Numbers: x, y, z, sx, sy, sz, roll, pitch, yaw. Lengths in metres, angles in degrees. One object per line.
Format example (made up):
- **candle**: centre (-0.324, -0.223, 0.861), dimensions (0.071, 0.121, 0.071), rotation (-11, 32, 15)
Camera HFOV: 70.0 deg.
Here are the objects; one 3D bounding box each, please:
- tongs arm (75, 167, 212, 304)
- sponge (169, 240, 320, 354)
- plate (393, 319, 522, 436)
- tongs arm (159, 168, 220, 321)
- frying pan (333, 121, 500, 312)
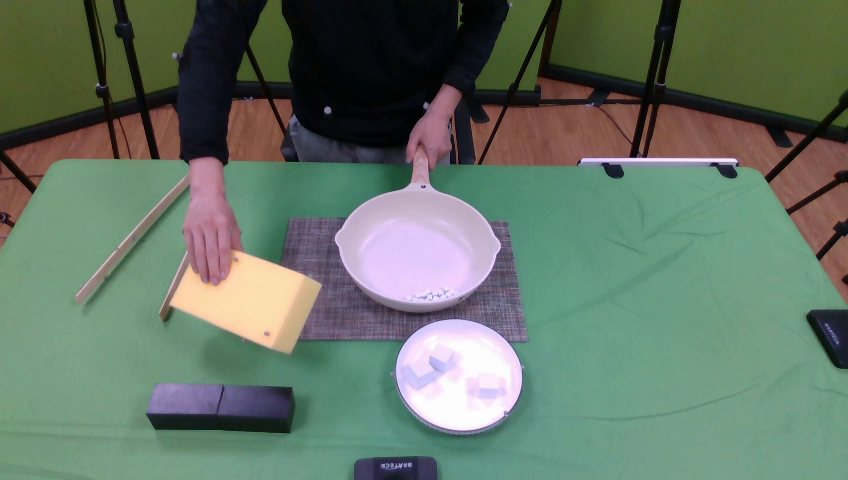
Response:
- **tongs arm**: centre (-0.525, -0.021, 1.167), dimensions (0.051, 0.026, 0.383), rotation (13, 46, 7)
- **sponge**: centre (-0.282, 0.087, 0.953), dimensions (0.206, 0.061, 0.118), rotation (17, 78, 22)
- **plate**: centre (0.053, 0.222, 0.979), dimensions (0.208, 0.039, 0.206), rotation (2, 46, -2)
- **tongs arm**: centre (-0.446, -0.005, 1.164), dimensions (0.028, 0.028, 0.385), rotation (1, 46, 0)
- **frying pan**: centre (-0.011, -0.063, 1.195), dimensions (0.307, 0.103, 0.485), rotation (4, 55, -2)
